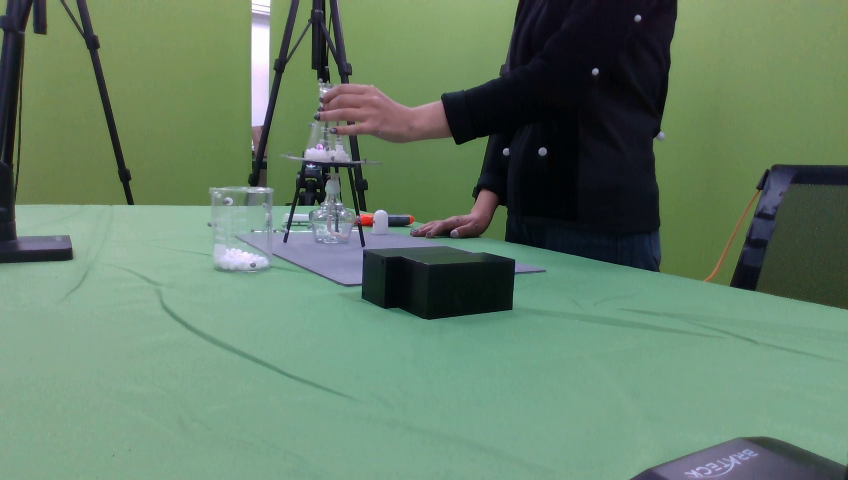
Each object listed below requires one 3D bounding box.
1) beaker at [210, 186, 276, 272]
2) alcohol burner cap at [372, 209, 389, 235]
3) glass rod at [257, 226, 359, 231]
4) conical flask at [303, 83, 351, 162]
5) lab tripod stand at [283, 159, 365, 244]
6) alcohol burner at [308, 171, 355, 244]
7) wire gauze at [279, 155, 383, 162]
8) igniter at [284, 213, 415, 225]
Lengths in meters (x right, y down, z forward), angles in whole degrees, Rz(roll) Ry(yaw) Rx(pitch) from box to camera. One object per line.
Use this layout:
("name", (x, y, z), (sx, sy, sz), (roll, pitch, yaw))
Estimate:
("beaker", (-0.224, -0.014, 0.738), (0.084, 0.100, 0.074), (4, 7, 16))
("alcohol burner cap", (-0.082, -0.035, 1.143), (0.034, 0.048, 0.034), (2, 7, 0))
("glass rod", (-0.216, -0.022, 1.151), (0.201, 0.008, 0.008), (-2, 8, -28))
("conical flask", (-0.152, -0.186, 0.964), (0.075, 0.122, 0.075), (4, 5, 0))
("lab tripod stand", (-0.151, -0.063, 0.983), (0.148, 0.131, 0.148), (4, 7, 0))
("alcohol burner", (-0.151, -0.054, 0.993), (0.078, 0.119, 0.078), (2, 6, 0))
("wire gauze", (-0.149, -0.128, 0.974), (0.124, 0.011, 0.122), (7, 6, 41))
("igniter", (-0.154, -0.045, 1.282), (0.278, 0.025, 0.057), (0, -3, -20))
